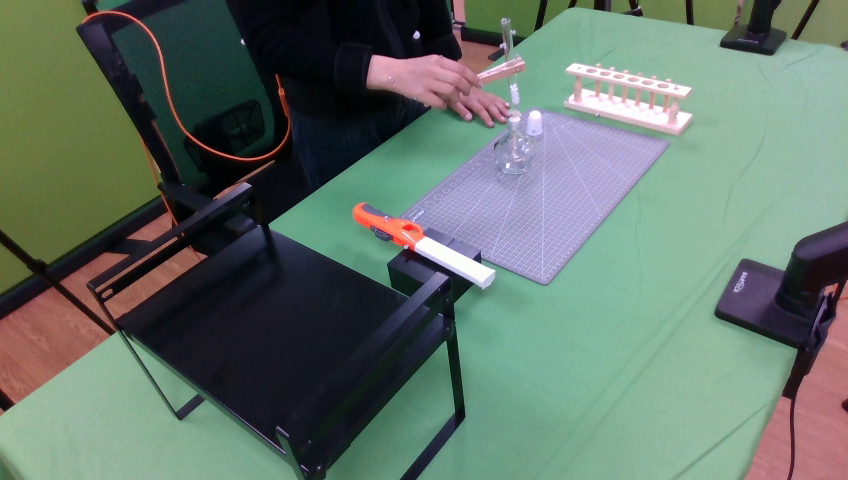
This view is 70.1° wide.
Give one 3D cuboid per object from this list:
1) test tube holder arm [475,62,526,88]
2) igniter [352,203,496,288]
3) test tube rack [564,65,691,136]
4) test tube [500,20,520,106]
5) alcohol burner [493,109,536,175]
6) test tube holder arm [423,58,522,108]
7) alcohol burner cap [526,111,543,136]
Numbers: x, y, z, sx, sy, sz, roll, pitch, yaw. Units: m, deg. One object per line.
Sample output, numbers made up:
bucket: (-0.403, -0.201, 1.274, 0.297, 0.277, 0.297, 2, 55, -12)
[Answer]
test tube holder arm: (0.124, -0.271, 0.995, 0.088, 0.015, 0.010, -18, 47, 0)
igniter: (-0.011, 0.002, 0.899, 0.274, 0.025, 0.057, 27, 45, 33)
test tube rack: (0.404, -0.288, 1.204, 0.240, 0.085, 0.067, 24, 49, 32)
test tube: (0.142, -0.287, 0.995, 0.017, 0.151, 0.017, -9, 42, 8)
alcohol burner: (0.163, -0.179, 1.087, 0.078, 0.119, 0.077, -5, 39, 4)
test tube holder arm: (0.081, -0.258, 0.996, 0.179, 0.015, 0.013, -24, 46, -6)
alcohol burner cap: (0.219, -0.232, 1.196, 0.034, 0.048, 0.033, -4, 41, 4)
